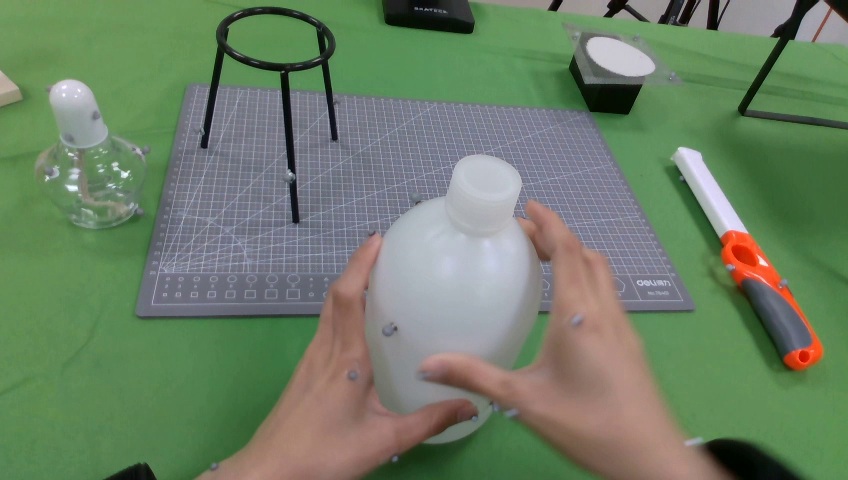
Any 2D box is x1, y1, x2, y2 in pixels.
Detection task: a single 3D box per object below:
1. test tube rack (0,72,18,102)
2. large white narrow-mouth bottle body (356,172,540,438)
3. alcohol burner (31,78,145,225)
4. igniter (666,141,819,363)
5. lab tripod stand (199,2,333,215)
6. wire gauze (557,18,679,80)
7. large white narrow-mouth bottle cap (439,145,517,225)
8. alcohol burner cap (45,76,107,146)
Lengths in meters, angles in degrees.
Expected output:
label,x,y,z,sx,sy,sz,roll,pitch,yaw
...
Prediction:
label,x,y,z,sx,sy,sz,roll,pitch,yaw
test tube rack,-0.474,-0.125,0.475,0.066,0.086,0.242,37,50,21
large white narrow-mouth bottle body,0.015,0.033,0.364,0.102,0.196,0.101,6,46,-6
alcohol burner,-0.254,-0.069,0.455,0.078,0.120,0.077,8,44,-7
igniter,0.297,-0.002,0.581,0.057,0.025,0.273,10,45,-18
lab tripod stand,-0.124,-0.116,0.512,0.149,0.132,0.147,8,46,-8
wire gauze,0.228,-0.226,0.725,0.122,0.011,0.123,2,47,-13
large white narrow-mouth bottle cap,0.027,-0.027,0.303,0.038,0.024,0.037,6,46,-6
alcohol burner cap,-0.248,-0.093,0.428,0.034,0.048,0.033,6,52,-7
